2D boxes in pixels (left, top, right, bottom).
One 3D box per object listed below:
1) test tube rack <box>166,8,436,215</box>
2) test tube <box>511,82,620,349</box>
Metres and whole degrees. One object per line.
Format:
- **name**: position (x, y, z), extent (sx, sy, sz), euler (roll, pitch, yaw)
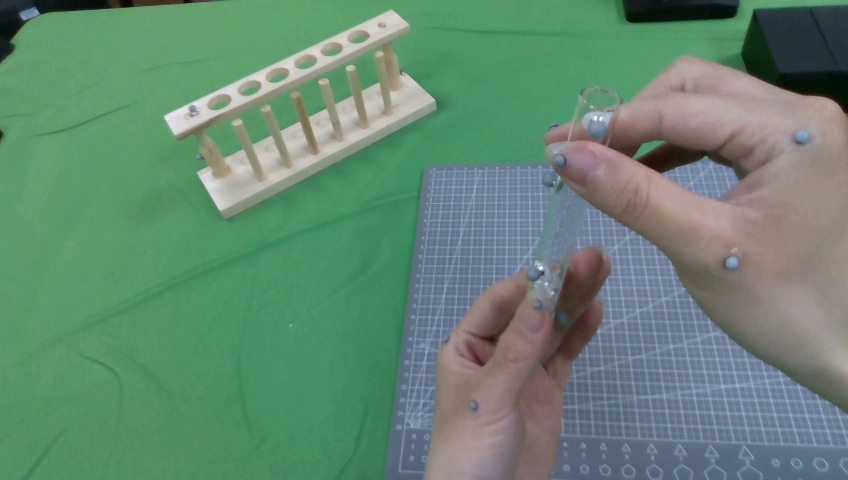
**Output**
- **test tube rack**: position (-0.110, -0.127, 0.590), extent (0.242, 0.086, 0.066), euler (-30, 55, -14)
- **test tube**: position (0.056, 0.001, 0.262), extent (0.017, 0.152, 0.017), euler (2, 46, -2)
